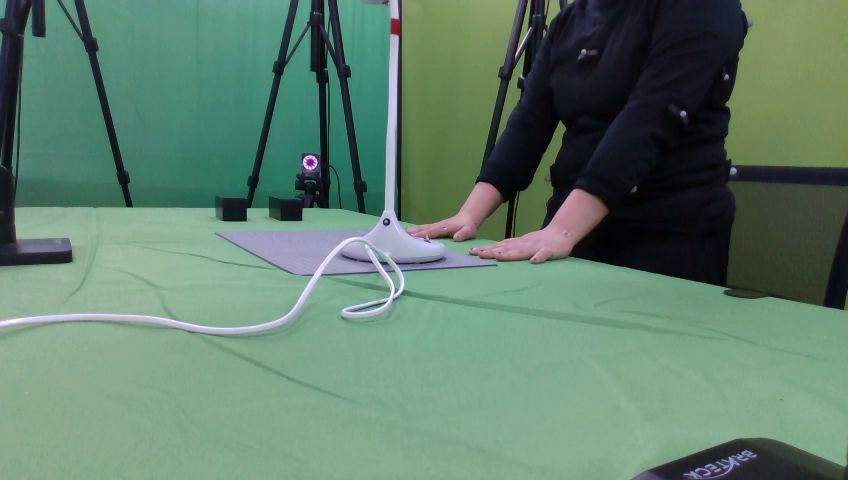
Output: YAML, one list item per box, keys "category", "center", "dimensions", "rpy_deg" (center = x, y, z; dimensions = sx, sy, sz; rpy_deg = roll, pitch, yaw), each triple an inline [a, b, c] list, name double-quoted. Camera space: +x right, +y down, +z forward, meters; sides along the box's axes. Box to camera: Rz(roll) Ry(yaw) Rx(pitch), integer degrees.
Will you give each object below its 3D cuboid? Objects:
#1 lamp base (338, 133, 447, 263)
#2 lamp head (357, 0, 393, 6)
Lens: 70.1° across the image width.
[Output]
- category: "lamp base"
  center: [-0.042, -0.062, 0.868]
  dimensions: [0.161, 0.180, 0.179]
  rpy_deg: [2, 10, -3]
- category: "lamp head"
  center: [-0.056, -0.383, 0.819]
  dimensions: [0.113, 0.112, 0.122]
  rpy_deg: [0, 13, -22]
